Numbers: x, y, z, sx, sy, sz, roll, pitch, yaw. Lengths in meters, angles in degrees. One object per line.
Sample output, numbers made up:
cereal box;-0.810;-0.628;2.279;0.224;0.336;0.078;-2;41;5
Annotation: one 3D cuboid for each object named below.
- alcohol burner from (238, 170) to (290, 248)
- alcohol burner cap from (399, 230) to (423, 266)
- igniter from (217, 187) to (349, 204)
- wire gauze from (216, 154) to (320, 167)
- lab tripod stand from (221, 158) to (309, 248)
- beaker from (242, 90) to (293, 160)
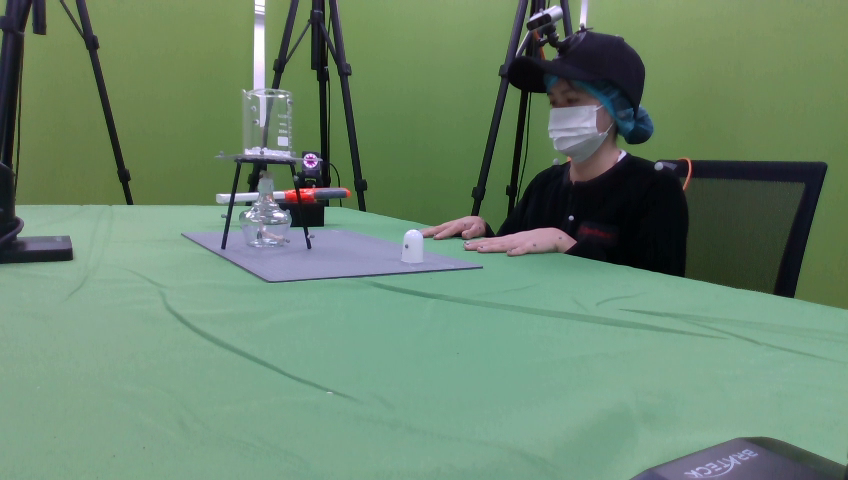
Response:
alcohol burner;-0.244;-0.048;0.927;0.078;0.119;0.078;3;5;0
alcohol burner cap;-0.017;0.010;0.837;0.034;0.048;0.034;3;7;0
igniter;-0.285;-0.093;1.256;0.278;0.025;0.057;-6;12;-34
wire gauze;-0.236;-0.121;0.906;0.126;0.011;0.121;0;8;-33
lab tripod stand;-0.244;-0.057;0.917;0.148;0.131;0.148;1;7;0
beaker;-0.235;-0.169;0.900;0.074;0.100;0.084;4;7;23
